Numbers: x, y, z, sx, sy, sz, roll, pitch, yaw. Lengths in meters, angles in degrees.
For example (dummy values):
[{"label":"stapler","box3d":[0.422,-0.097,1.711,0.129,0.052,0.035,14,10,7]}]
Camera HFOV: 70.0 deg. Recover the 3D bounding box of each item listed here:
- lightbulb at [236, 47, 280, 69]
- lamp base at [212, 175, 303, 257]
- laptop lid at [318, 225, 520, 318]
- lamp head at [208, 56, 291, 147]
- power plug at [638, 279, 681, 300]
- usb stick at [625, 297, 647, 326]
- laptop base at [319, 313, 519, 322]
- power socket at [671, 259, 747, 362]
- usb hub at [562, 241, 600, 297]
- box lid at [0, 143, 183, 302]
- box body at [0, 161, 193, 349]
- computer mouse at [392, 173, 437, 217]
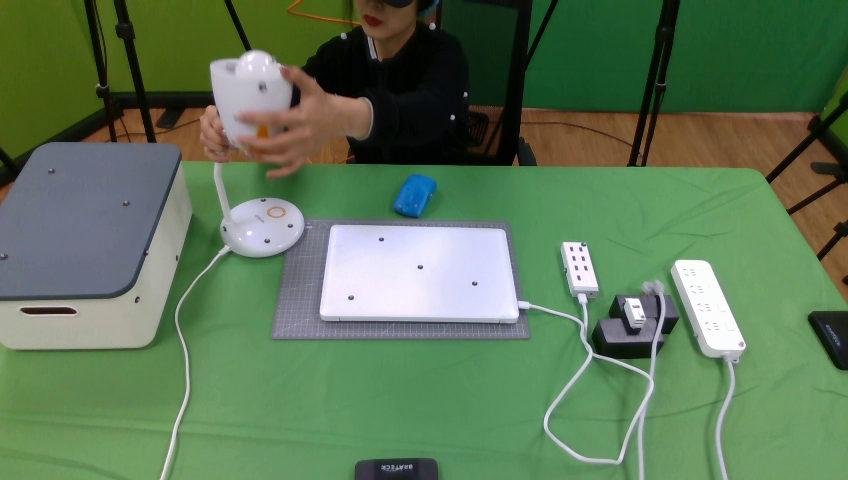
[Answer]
[{"label":"lightbulb","box3d":[-0.234,-0.218,0.861,0.059,0.108,0.059,3,29,-1]},{"label":"lamp base","box3d":[-0.324,-0.073,1.134,0.160,0.181,0.179,28,54,23]},{"label":"laptop lid","box3d":[-0.009,0.052,1.131,0.357,0.013,0.240,2,43,-2]},{"label":"lamp head","box3d":[-0.248,-0.196,0.864,0.112,0.123,0.112,8,28,-4]},{"label":"power plug","box3d":[0.434,0.099,1.118,0.073,0.053,0.035,34,38,-14]},{"label":"usb stick","box3d":[0.360,0.116,1.034,0.021,0.027,0.059,-2,44,-2]},{"label":"laptop base","box3d":[-0.009,0.063,1.138,0.354,0.023,0.234,1,42,-3]},{"label":"power socket","box3d":[0.517,0.119,1.108,0.072,0.033,0.225,1,46,-2]},{"label":"usb hub","box3d":[0.300,0.055,1.162,0.049,0.025,0.124,2,46,-3]},{"label":"box lid","box3d":[-0.567,-0.045,0.999,0.263,0.015,0.369,-1,46,-4]},{"label":"box body","box3d":[-0.570,0.006,1.054,0.254,0.161,0.361,-1,46,-4]},{"label":"computer mouse","box3d":[-0.018,-0.098,1.282,0.062,0.041,0.117,20,51,13]}]
